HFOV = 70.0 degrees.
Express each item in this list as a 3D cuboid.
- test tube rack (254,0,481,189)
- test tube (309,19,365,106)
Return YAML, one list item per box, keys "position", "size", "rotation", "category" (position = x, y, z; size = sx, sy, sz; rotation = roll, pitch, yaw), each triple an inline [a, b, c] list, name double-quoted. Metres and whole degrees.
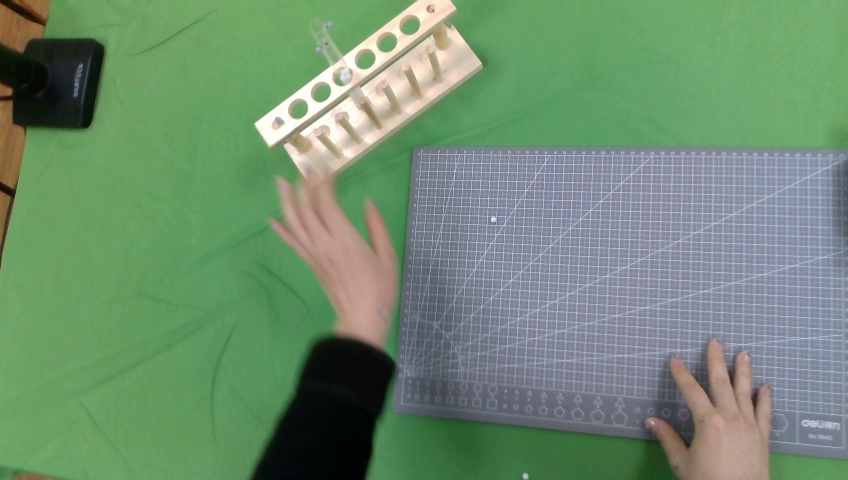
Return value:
- position: [-0.059, -0.161, 0.672]
  size: [0.242, 0.085, 0.066]
  rotation: [-35, 76, 4]
  category: "test tube rack"
- position: [-0.087, -0.179, 0.629]
  size: [0.017, 0.151, 0.017]
  rotation: [-2, 75, 9]
  category: "test tube"
